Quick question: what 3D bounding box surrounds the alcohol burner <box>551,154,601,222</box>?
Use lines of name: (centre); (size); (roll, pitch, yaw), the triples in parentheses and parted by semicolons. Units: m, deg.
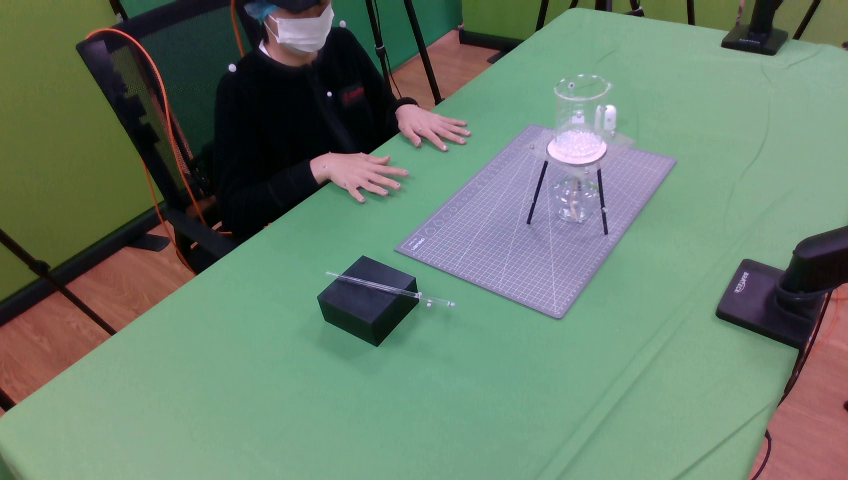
alcohol burner: (0.244, -0.088, 0.966); (0.078, 0.119, 0.077); (-3, 40, 3)

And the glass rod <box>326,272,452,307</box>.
glass rod: (-0.053, 0.068, 0.839); (0.198, 0.008, 0.008); (12, 43, 23)

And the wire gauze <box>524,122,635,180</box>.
wire gauze: (0.233, -0.142, 0.913); (0.122, 0.011, 0.124); (-31, 42, -26)

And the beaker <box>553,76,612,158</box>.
beaker: (0.230, -0.178, 0.882); (0.084, 0.101, 0.073); (-9, 41, 1)

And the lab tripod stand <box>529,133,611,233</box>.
lab tripod stand: (0.236, -0.089, 0.953); (0.148, 0.132, 0.147); (-5, 41, 5)

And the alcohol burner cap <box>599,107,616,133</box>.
alcohol burner cap: (0.361, -0.239, 1.188); (0.034, 0.048, 0.033); (-4, 40, 4)
